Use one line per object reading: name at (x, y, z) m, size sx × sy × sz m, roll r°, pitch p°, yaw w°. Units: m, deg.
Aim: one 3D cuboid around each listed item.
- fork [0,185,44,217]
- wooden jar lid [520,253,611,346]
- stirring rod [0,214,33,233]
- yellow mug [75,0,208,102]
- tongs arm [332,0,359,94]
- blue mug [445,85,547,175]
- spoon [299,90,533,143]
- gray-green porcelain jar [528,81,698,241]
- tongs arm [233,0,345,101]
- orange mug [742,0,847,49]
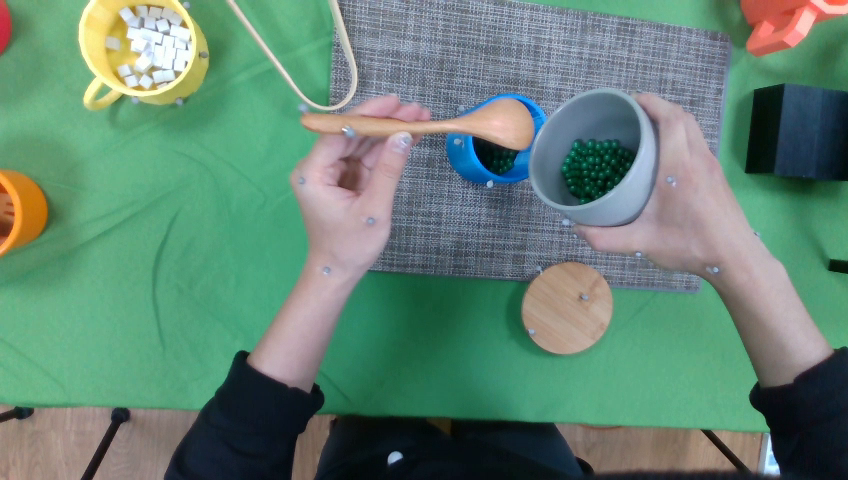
fork at (-0.436, -0.047, 0.511) m, size 0.209 × 0.018 × 0.028 m, roll 14°, pitch 94°, yaw -55°
wooden jar lid at (0.161, 0.067, 0.696) m, size 0.108 × 0.020 × 0.108 m, roll -1°, pitch 100°, yaw -8°
stirring rod at (-0.430, -0.029, 0.517) m, size 0.006 × 0.177 × 0.014 m, roll 2°, pitch 80°, yaw 33°
yellow mug at (-0.271, -0.177, 0.567) m, size 0.100 × 0.063 × 0.131 m, roll 44°, pitch 89°, yaw -12°
tongs arm at (-0.127, -0.332, 0.571) m, size 0.028 × 0.027 × 0.389 m, roll -22°, pitch 107°, yaw -15°
blue mug at (0.085, -0.099, 0.616) m, size 0.117 × 0.105 × 0.082 m, roll 30°, pitch 91°, yaw -12°
spoon at (0.005, -0.086, 0.424) m, size 0.194 × 0.021 × 0.041 m, roll -8°, pitch 88°, yaw -29°
gray-green porcelain jar at (0.168, -0.061, 0.525) m, size 0.128 × 0.105 × 0.106 m, roll 23°, pitch 93°, yaw -43°
tongs arm at (-0.200, -0.291, 0.560) m, size 0.051 × 0.026 × 0.387 m, roll -35°, pitch 109°, yaw -8°
orange mug at (0.407, -0.272, 0.659) m, size 0.084 × 0.100 × 0.126 m, roll 28°, pitch 87°, yaw -11°
